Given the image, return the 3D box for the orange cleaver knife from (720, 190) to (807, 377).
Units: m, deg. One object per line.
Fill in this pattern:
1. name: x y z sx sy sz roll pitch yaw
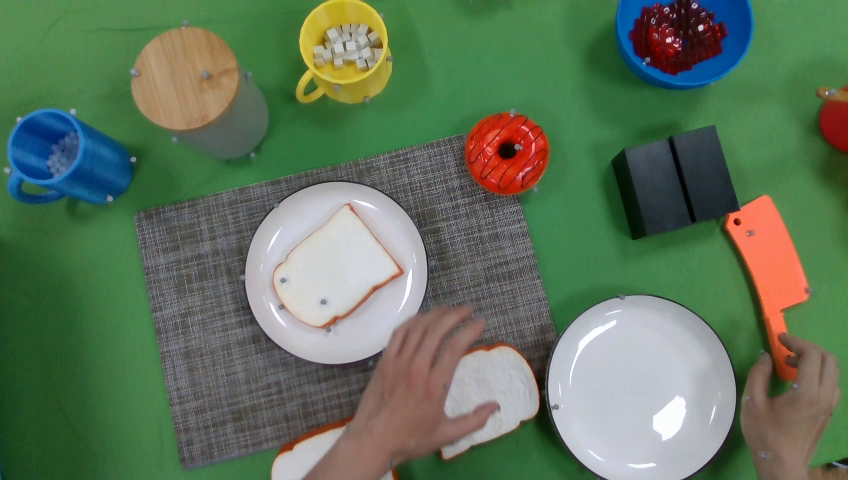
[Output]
1. orange cleaver knife: 0.401 0.048 0.696 0.077 0.012 0.210 -13 82 -7

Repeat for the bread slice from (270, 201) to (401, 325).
1. bread slice: -0.107 0.034 0.693 0.131 0.019 0.104 -40 83 -5

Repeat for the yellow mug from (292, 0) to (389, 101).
1. yellow mug: -0.104 -0.211 0.707 0.100 0.064 0.131 44 87 5

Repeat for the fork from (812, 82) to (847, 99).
1. fork: 0.461 -0.151 0.652 0.208 0.018 0.028 -2 82 -41

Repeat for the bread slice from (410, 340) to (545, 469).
1. bread slice: 0.066 0.169 0.651 0.134 0.018 0.106 -19 80 -21

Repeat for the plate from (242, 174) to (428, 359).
1. plate: -0.099 0.030 0.691 0.208 0.039 0.207 0 83 1

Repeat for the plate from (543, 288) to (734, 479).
1. plate: 0.234 0.159 0.676 0.209 0.038 0.208 0 84 1

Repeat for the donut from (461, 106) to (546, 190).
1. donut: 0.091 -0.106 0.700 0.099 0.048 0.099 0 84 0

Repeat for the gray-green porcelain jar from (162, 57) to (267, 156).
1. gray-green porcelain jar: -0.238 -0.155 0.672 0.106 0.127 0.105 0 83 1

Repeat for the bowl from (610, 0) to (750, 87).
1. bowl: 0.282 -0.239 0.698 0.151 0.077 0.151 0 84 1

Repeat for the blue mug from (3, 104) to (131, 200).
1. blue mug: -0.406 -0.084 0.677 0.116 0.106 0.082 -39 84 -3

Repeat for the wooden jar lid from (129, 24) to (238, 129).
1. wooden jar lid: -0.240 -0.163 0.611 0.108 0.021 0.108 0 82 2
